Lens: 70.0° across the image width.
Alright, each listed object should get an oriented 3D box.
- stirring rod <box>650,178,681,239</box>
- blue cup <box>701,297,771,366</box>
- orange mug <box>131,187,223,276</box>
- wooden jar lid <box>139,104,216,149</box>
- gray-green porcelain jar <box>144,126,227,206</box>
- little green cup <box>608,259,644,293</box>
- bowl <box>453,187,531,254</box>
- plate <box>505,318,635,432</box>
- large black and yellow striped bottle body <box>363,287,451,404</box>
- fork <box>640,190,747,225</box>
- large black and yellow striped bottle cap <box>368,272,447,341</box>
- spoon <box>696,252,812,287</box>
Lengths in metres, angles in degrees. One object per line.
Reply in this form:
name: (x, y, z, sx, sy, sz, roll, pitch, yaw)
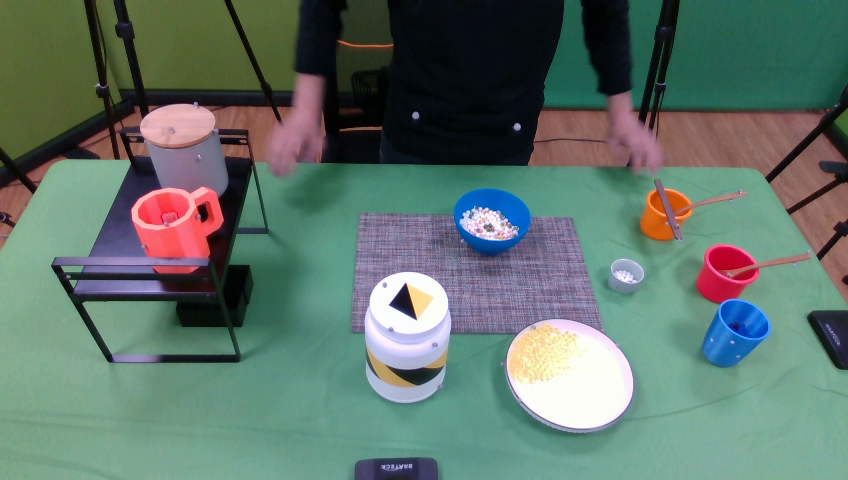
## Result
stirring rod: (0.479, -0.065, 1.204, 0.014, 0.006, 0.175, 3, 46, -4)
blue cup: (0.519, 0.162, 1.025, 0.093, 0.101, 0.092, 3, 45, -3)
orange mug: (-0.354, -0.022, 0.888, 0.083, 0.101, 0.126, 31, 55, 24)
wooden jar lid: (-0.372, -0.169, 0.920, 0.108, 0.021, 0.107, 4, 44, -4)
gray-green porcelain jar: (-0.375, -0.125, 0.967, 0.106, 0.127, 0.105, 2, 46, -2)
little green cup: (0.379, 0.070, 1.147, 0.061, 0.039, 0.061, 3, 45, -2)
bowl: (0.128, -0.025, 1.187, 0.151, 0.077, 0.150, 2, 46, -2)
plate: (0.235, 0.221, 0.991, 0.209, 0.038, 0.208, 2, 46, -2)
large black and yellow striped bottle body: (-0.027, 0.153, 0.935, 0.131, 0.185, 0.130, 2, 46, -2)
fork: (0.533, -0.065, 1.211, 0.207, 0.019, 0.028, -22, 27, 38)
large black and yellow striped bottle cap: (-0.023, 0.093, 0.875, 0.115, 0.019, 0.114, 3, 46, -3)
spoon: (0.600, 0.051, 1.110, 0.193, 0.022, 0.041, -22, 33, 38)
